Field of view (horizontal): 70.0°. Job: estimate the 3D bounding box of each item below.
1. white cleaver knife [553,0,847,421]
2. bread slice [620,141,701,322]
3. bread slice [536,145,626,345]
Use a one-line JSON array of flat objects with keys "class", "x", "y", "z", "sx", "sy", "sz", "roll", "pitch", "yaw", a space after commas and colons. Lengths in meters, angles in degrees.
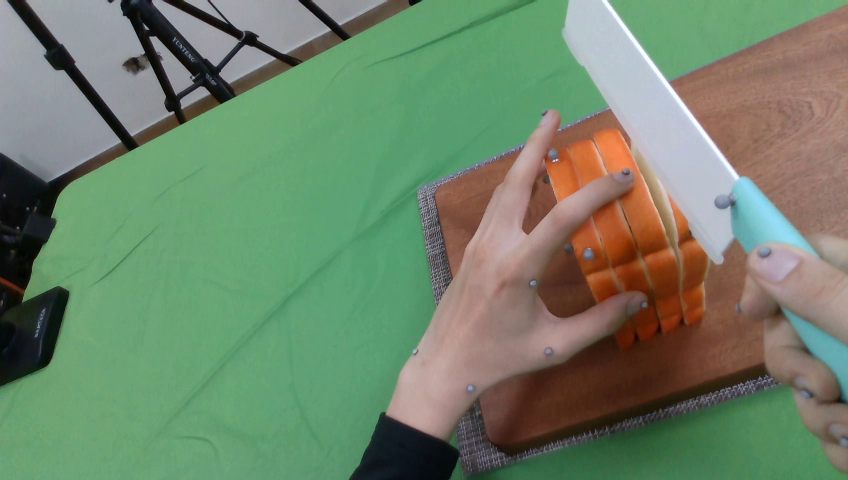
[{"class": "white cleaver knife", "x": 0.132, "y": -0.023, "z": 0.288, "sx": 0.021, "sy": 0.066, "sz": 0.283, "roll": -22, "pitch": 63, "yaw": -2}, {"class": "bread slice", "x": 0.157, "y": -0.018, "z": 0.404, "sx": 0.019, "sy": 0.133, "sz": 0.104, "roll": -17, "pitch": 53, "yaw": 9}, {"class": "bread slice", "x": 0.108, "y": -0.003, "z": 0.420, "sx": 0.018, "sy": 0.136, "sz": 0.106, "roll": -21, "pitch": 49, "yaw": 14}]
